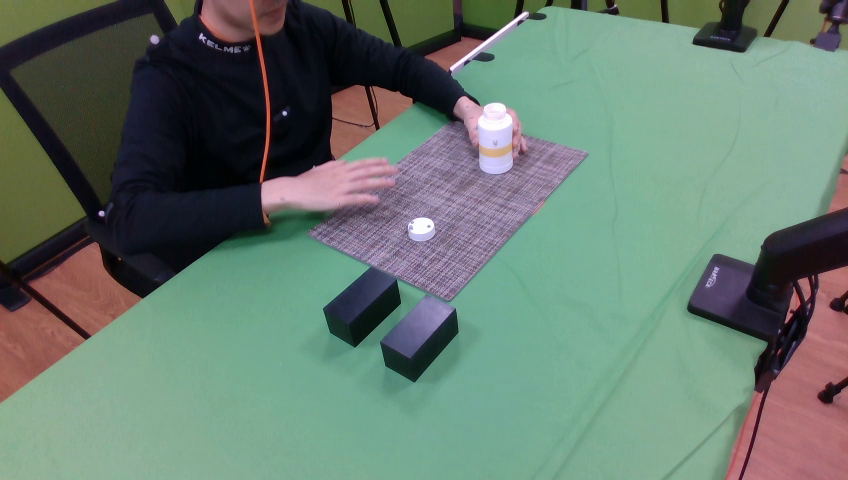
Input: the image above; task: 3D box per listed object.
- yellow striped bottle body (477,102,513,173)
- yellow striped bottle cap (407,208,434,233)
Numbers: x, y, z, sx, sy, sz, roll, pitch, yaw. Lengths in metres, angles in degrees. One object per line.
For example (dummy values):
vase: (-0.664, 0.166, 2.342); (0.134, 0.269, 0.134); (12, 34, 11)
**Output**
yellow striped bottle body: (0.128, -0.186, 1.083); (0.063, 0.121, 0.062); (-4, 41, 4)
yellow striped bottle cap: (-0.006, -0.032, 0.971); (0.044, 0.019, 0.044); (2, 44, -2)
